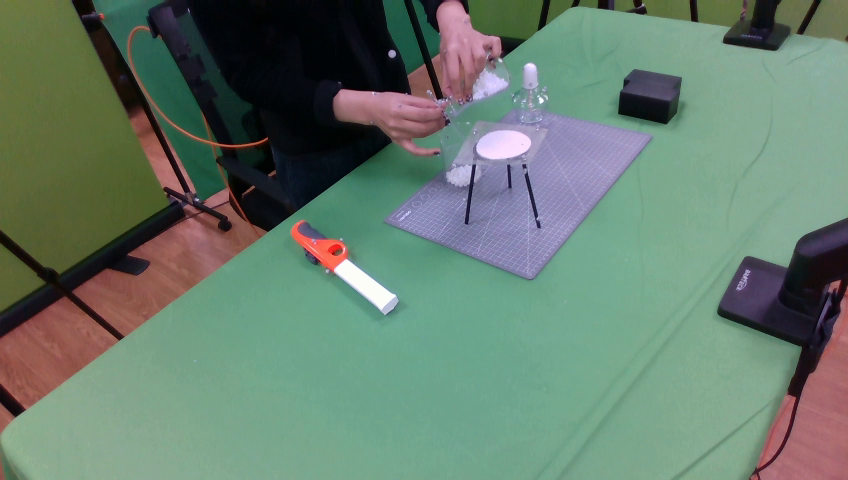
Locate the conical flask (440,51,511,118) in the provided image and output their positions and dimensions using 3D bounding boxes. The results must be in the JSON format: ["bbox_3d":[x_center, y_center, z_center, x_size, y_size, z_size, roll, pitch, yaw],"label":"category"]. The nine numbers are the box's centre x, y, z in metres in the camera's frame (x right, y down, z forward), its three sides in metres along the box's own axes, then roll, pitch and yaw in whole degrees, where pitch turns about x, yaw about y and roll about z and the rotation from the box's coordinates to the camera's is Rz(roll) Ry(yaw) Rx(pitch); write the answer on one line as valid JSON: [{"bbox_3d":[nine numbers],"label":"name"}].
[{"bbox_3d":[0.082,-0.255,1.017,0.122,0.076,0.074,-41,48,-16],"label":"conical flask"}]

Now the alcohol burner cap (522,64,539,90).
[{"bbox_3d":[0.210,-0.325,1.195,0.034,0.048,0.033,-6,45,7],"label":"alcohol burner cap"}]

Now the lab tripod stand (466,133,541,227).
[{"bbox_3d":[0.129,-0.099,0.985,0.148,0.132,0.147,-6,38,6],"label":"lab tripod stand"}]

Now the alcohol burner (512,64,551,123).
[{"bbox_3d":[0.215,-0.298,1.220,0.078,0.120,0.077,-7,40,7],"label":"alcohol burner"}]

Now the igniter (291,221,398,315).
[{"bbox_3d":[-0.136,0.037,0.962,0.057,0.025,0.274,-41,48,-18],"label":"igniter"}]

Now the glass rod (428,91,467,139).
[{"bbox_3d":[0.043,-0.204,1.004,0.008,0.201,0.008,-4,78,19],"label":"glass rod"}]

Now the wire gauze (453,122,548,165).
[{"bbox_3d":[0.121,-0.150,0.942,0.121,0.011,0.125,8,42,21],"label":"wire gauze"}]

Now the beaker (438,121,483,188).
[{"bbox_3d":[0.066,-0.149,1.083,0.073,0.101,0.084,19,49,31],"label":"beaker"}]
